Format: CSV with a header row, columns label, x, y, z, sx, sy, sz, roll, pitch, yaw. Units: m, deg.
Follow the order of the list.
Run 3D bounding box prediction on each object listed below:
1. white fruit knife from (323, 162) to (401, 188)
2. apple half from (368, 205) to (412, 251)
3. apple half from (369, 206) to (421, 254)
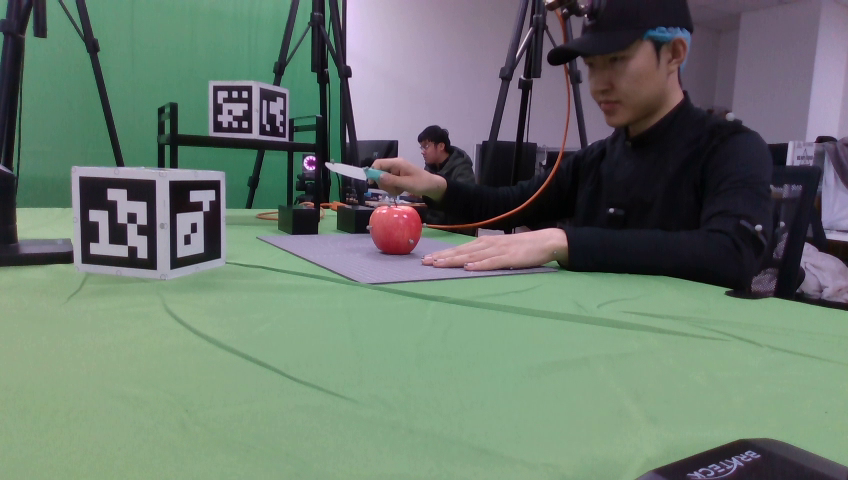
label,x,y,z,sx,sy,sz,roll,pitch,yaw
white fruit knife,-0.113,-0.126,1.148,0.016,0.027,0.208,-7,-8,37
apple half,-0.059,-0.020,0.951,0.082,0.081,0.032,-2,14,-32
apple half,-0.038,-0.014,0.919,0.081,0.074,0.053,3,10,-32
